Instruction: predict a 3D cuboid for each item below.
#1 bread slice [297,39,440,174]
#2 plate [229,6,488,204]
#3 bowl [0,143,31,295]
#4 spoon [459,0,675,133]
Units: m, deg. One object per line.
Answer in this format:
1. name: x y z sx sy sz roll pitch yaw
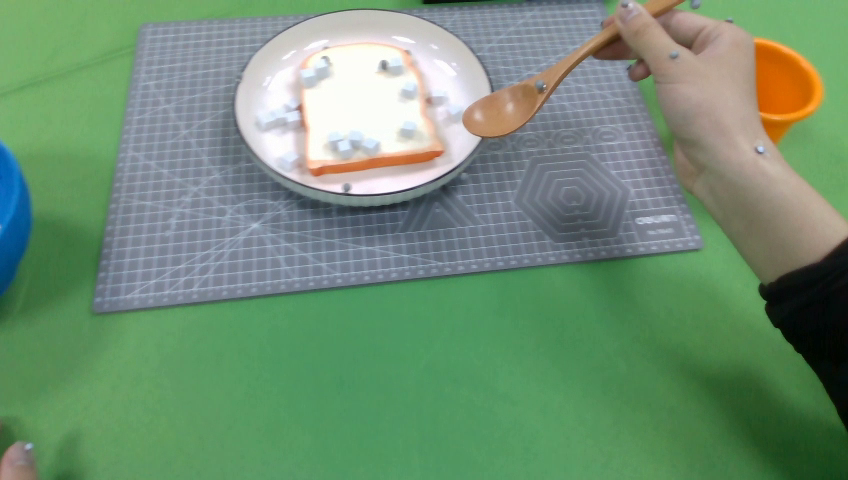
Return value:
1. bread slice: -0.056 -0.115 0.506 0.107 0.018 0.133 -12 62 -9
2. plate: -0.052 -0.112 0.502 0.209 0.038 0.207 1 59 -1
3. bowl: -0.329 0.003 0.400 0.151 0.077 0.150 1 59 -1
4. spoon: 0.109 -0.127 0.394 0.194 0.022 0.041 -33 52 13
